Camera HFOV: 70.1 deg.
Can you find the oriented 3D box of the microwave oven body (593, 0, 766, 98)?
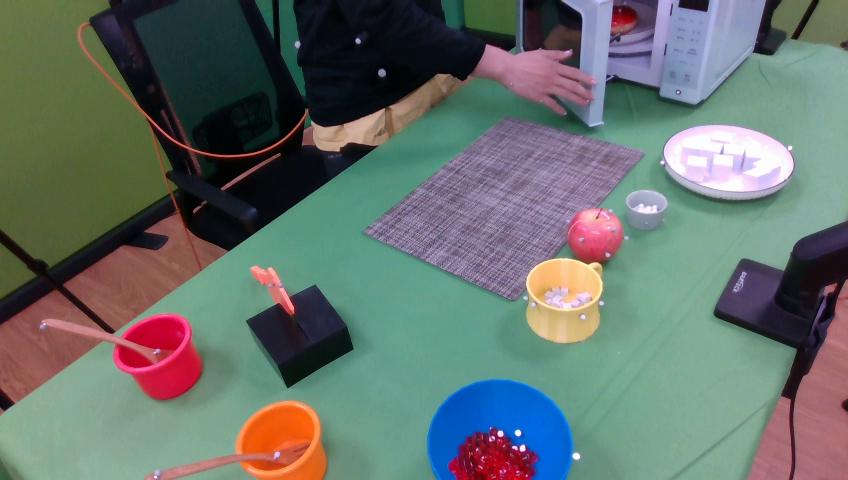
[{"bbox_3d":[0.472,-0.513,1.317,0.438,0.261,0.327,26,51,34],"label":"microwave oven body"}]

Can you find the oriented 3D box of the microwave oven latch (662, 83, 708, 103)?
[{"bbox_3d":[0.518,-0.296,1.204,0.078,0.029,0.030,28,52,35],"label":"microwave oven latch"}]

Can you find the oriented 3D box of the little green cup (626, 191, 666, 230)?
[{"bbox_3d":[0.352,-0.046,0.963,0.061,0.039,0.061,-4,40,4],"label":"little green cup"}]

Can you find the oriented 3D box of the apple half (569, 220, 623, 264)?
[{"bbox_3d":[0.251,0.010,0.884,0.081,0.081,0.032,3,37,12],"label":"apple half"}]

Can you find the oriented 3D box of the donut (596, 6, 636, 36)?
[{"bbox_3d":[0.427,-0.496,1.365,0.099,0.048,0.098,-6,39,5],"label":"donut"}]

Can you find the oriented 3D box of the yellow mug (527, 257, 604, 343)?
[{"bbox_3d":[0.201,0.072,0.825,0.131,0.064,0.099,-32,46,-27],"label":"yellow mug"}]

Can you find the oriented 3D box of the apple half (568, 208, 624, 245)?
[{"bbox_3d":[0.259,-0.014,0.914,0.080,0.075,0.053,0,36,15],"label":"apple half"}]

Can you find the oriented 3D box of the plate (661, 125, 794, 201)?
[{"bbox_3d":[0.513,-0.128,1.035,0.207,0.039,0.206,-4,40,4],"label":"plate"}]

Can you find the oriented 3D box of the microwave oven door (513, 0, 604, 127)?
[{"bbox_3d":[0.268,-0.416,1.227,0.039,0.245,0.353,-16,41,-10],"label":"microwave oven door"}]

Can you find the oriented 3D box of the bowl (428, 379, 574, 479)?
[{"bbox_3d":[0.082,0.233,0.644,0.151,0.077,0.150,-4,39,4],"label":"bowl"}]

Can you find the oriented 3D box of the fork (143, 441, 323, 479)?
[{"bbox_3d":[-0.189,0.231,0.631,0.028,0.018,0.209,36,13,37],"label":"fork"}]

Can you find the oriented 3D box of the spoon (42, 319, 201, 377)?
[{"bbox_3d":[-0.385,0.135,0.779,0.195,0.021,0.041,28,37,-26],"label":"spoon"}]

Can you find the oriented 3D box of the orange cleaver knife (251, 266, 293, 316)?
[{"bbox_3d":[-0.221,0.071,0.873,0.012,0.077,0.210,-25,11,-21],"label":"orange cleaver knife"}]
